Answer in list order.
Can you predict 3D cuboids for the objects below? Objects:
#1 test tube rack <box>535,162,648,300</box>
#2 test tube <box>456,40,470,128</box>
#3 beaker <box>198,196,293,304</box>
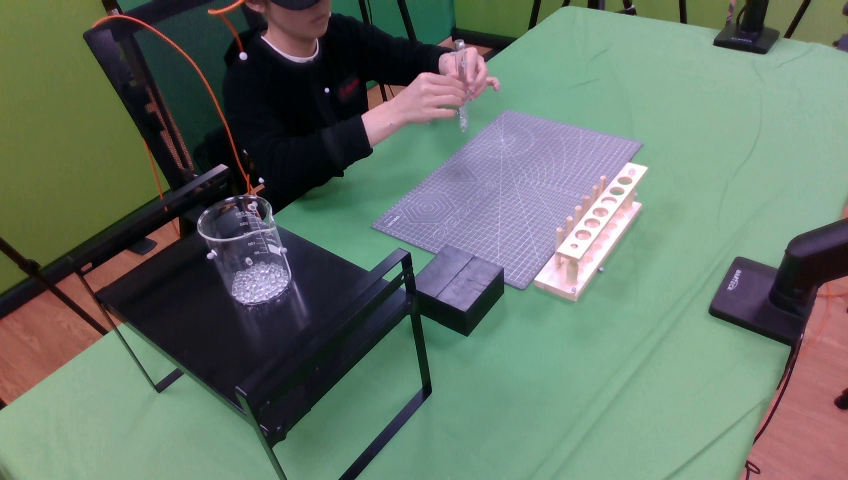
[{"bbox_3d":[0.257,-0.024,0.916,0.066,0.085,0.243,22,49,30],"label":"test tube rack"},{"bbox_3d":[0.066,-0.257,1.010,0.017,0.151,0.017,-4,35,3],"label":"test tube"},{"bbox_3d":[-0.185,0.014,0.650,0.083,0.101,0.074,9,44,18],"label":"beaker"}]
